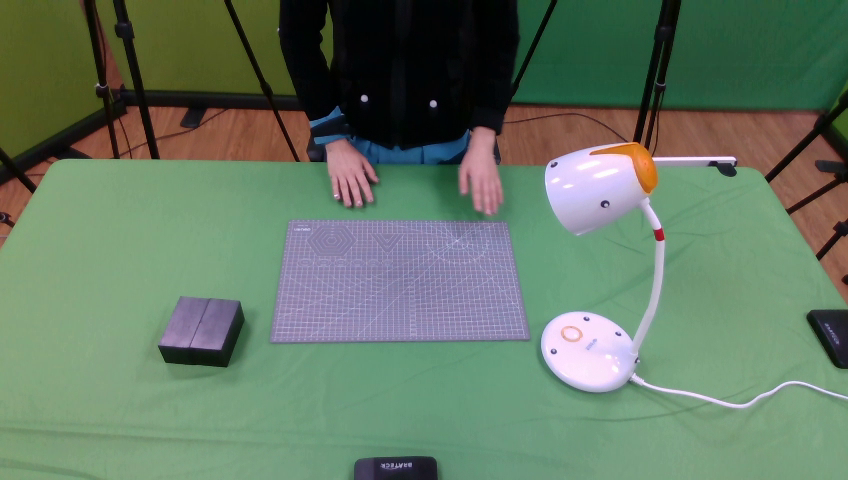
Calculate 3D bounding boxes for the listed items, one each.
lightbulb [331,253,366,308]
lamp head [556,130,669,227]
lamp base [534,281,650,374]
[{"bbox_3d":[-0.131,0.074,1.094,0.059,0.060,0.107,-15,65,-18],"label":"lightbulb"},{"bbox_3d":[0.251,-0.085,0.784,0.123,0.113,0.112,-20,38,29],"label":"lamp head"},{"bbox_3d":[0.287,0.113,0.999,0.179,0.181,0.160,13,47,5],"label":"lamp base"}]
